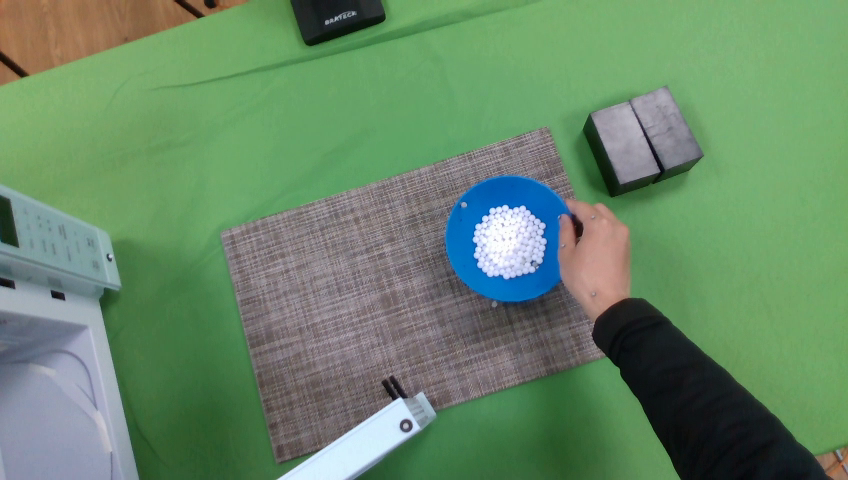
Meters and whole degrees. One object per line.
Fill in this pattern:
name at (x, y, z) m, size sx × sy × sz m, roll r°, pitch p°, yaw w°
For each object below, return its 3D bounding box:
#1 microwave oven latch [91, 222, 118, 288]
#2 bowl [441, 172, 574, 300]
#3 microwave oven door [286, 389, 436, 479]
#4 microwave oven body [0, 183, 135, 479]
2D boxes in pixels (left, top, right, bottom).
microwave oven latch at (-0.409, 0.019, 0.757) m, size 0.030 × 0.029 × 0.078 m, roll -19°, pitch 78°, yaw -1°
bowl at (0.097, 0.002, 0.723) m, size 0.151 × 0.077 × 0.150 m, roll -1°, pitch 78°, yaw 4°
microwave oven door at (-0.151, 0.258, 0.583) m, size 0.356 × 0.245 × 0.039 m, roll -33°, pitch 76°, yaw -4°
microwave oven body at (-0.498, 0.208, 0.621) m, size 0.326 × 0.261 × 0.439 m, roll -19°, pitch 77°, yaw -1°
